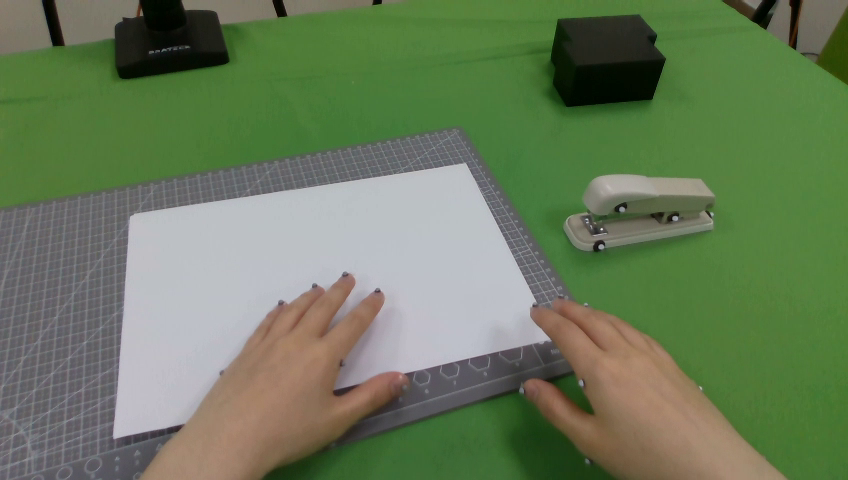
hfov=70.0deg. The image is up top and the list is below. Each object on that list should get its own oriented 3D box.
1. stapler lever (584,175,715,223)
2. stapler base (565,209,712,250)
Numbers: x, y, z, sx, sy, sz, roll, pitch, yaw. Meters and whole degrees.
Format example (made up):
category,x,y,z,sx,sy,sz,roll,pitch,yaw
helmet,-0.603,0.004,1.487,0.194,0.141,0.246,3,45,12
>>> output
category,x,y,z,sx,sy,sz,roll,pitch,yaw
stapler lever,0.191,-0.039,0.508,0.118,0.040,0.026,-9,50,-13
stapler base,0.188,-0.021,0.525,0.131,0.024,0.041,-9,50,-13
